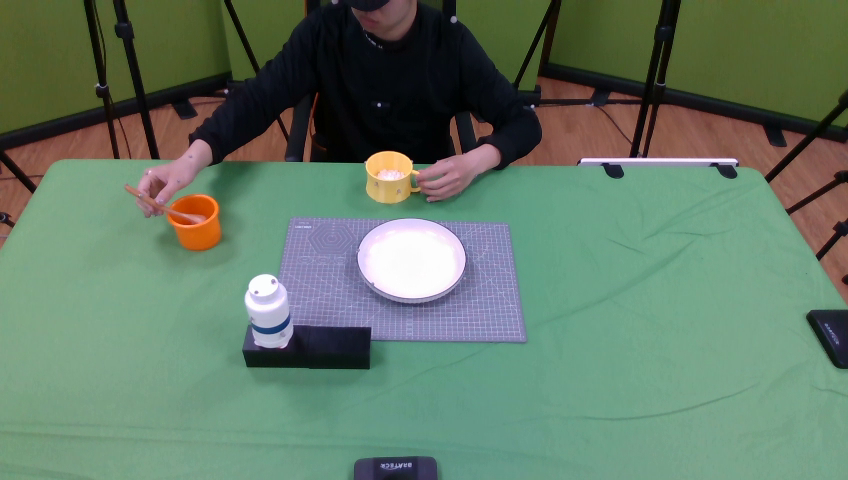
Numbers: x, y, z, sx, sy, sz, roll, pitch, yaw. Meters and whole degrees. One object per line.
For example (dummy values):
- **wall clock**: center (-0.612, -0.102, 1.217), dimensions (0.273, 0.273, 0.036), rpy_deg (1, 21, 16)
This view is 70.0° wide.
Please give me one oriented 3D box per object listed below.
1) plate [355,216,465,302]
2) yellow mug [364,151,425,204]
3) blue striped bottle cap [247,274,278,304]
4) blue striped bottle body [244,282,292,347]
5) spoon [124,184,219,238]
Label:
- **plate**: center (-0.027, 0.039, 1.144), dimensions (0.208, 0.039, 0.206), rpy_deg (2, 46, -2)
- **yellow mug**: center (-0.061, -0.132, 1.290), dimensions (0.131, 0.064, 0.099), rpy_deg (9, 46, 3)
- **blue striped bottle cap**: center (-0.239, 0.072, 0.900), dimensions (0.044, 0.021, 0.044), rpy_deg (4, 46, -4)
- **blue striped bottle body**: center (-0.241, 0.108, 0.937), dimensions (0.063, 0.121, 0.062), rpy_deg (2, 46, -2)
- **spoon**: center (-0.459, -0.052, 1.113), dimensions (0.195, 0.021, 0.041), rpy_deg (29, 32, -41)
